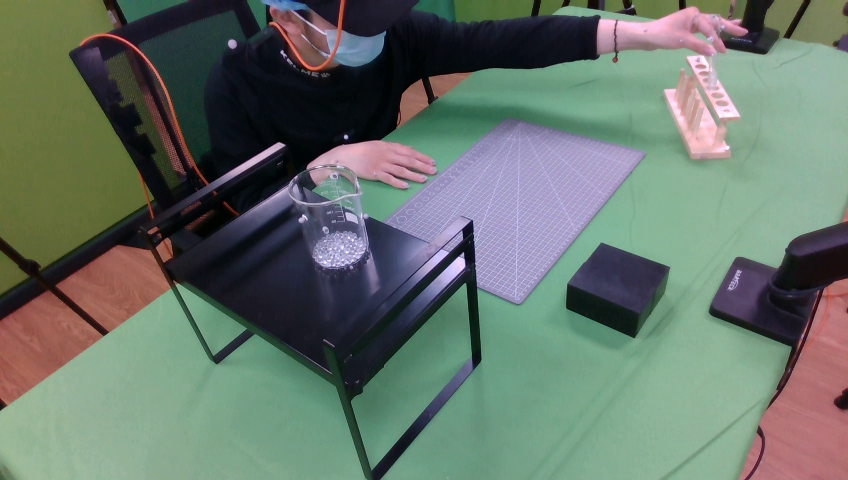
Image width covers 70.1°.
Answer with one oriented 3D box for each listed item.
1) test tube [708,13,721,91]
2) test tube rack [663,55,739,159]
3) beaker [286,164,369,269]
[{"bbox_3d":[0.511,-0.325,1.064,0.017,0.151,0.017,-11,41,11],"label":"test tube"},{"bbox_3d":[0.518,-0.256,1.144,0.066,0.085,0.241,-1,41,8],"label":"test tube rack"},{"bbox_3d":[-0.101,-0.024,0.676,0.083,0.101,0.074,8,43,17],"label":"beaker"}]
